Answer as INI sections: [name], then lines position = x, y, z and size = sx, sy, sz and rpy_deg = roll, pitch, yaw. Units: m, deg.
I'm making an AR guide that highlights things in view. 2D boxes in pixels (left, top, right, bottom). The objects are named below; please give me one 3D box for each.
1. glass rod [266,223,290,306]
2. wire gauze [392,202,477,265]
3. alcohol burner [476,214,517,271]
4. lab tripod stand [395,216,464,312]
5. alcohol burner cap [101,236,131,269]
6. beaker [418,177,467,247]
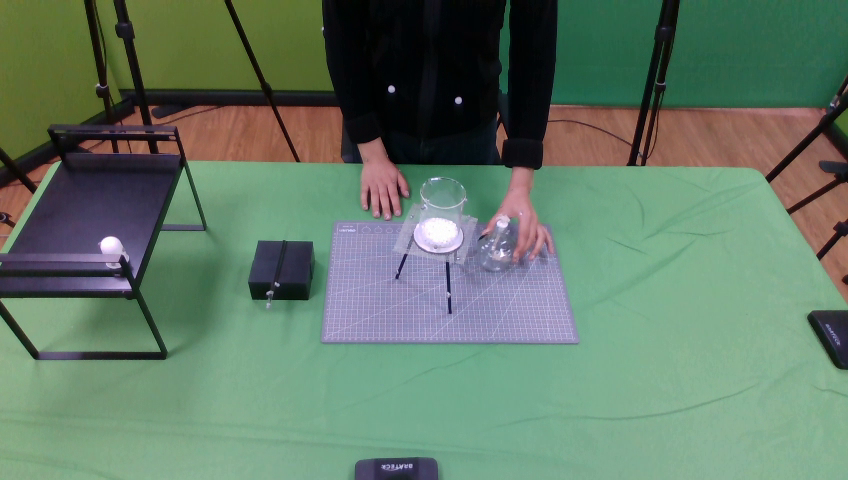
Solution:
[glass rod]
position = -0.260, 0.039, 1.083
size = 0.008, 0.008, 0.198
rpy_deg = 3, 46, -1
[wire gauze]
position = 0.021, -0.011, 1.037
size = 0.121, 0.011, 0.124
rpy_deg = 13, 49, 8
[alcohol burner]
position = 0.139, 0.000, 1.139
size = 0.078, 0.119, 0.077
rpy_deg = 2, 42, -2
[lab tripod stand]
position = 0.023, 0.037, 1.084
size = 0.148, 0.132, 0.147
rpy_deg = 4, 47, -4
[alcohol burner cap]
position = -0.452, 0.016, 0.883
size = 0.034, 0.048, 0.033
rpy_deg = 2, 47, -1
[beaker]
position = 0.026, -0.045, 1.004
size = 0.074, 0.101, 0.083
rpy_deg = -20, 51, -23
